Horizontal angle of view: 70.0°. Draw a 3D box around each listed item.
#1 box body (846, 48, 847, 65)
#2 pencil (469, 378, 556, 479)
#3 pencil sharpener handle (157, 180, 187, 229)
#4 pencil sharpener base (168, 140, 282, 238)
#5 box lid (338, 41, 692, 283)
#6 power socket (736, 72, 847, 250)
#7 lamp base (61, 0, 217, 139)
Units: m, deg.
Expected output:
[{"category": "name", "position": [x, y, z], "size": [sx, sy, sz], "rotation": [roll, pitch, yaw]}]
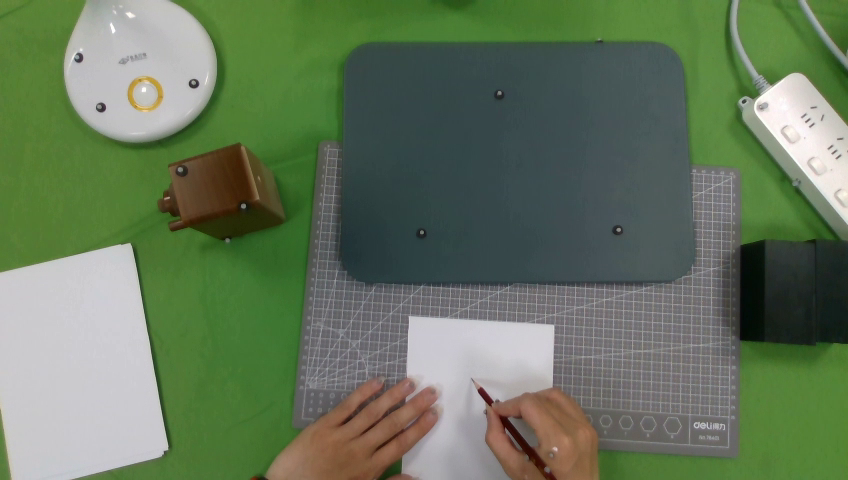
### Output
[{"category": "box body", "position": [0.644, -0.154, 0.580], "size": [0.254, 0.161, 0.363], "rotation": [-40, 85, -5]}, {"category": "pencil", "position": [0.087, 0.181, 0.538], "size": [0.012, 0.192, 0.012], "rotation": [-13, 120, -22]}, {"category": "pencil sharpener handle", "position": [-0.239, -0.029, 0.572], "size": [0.030, 0.068, 0.035], "rotation": [-17, 71, -2]}, {"category": "pencil sharpener base", "position": [-0.191, -0.045, 0.587], "size": [0.077, 0.107, 0.061], "rotation": [-17, 83, -2]}, {"category": "box lid", "position": [0.097, -0.085, 0.642], "size": [0.372, 0.015, 0.262], "rotation": [0, 83, 0]}, {"category": "power socket", "position": [0.425, -0.077, 0.634], "size": [0.072, 0.032, 0.226], "rotation": [-36, 84, -5]}, {"category": "lamp base", "position": [-0.307, -0.206, 0.568], "size": [0.160, 0.181, 0.178], "rotation": [-27, 81, -4]}]
